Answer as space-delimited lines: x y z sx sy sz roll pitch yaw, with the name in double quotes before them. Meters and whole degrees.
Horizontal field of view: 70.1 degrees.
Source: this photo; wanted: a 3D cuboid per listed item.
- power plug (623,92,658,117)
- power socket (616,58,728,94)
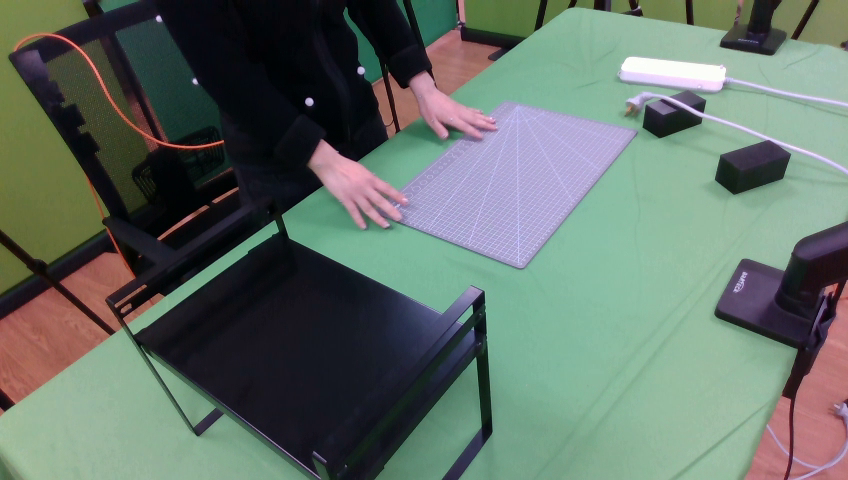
"power plug" 0.422 -0.270 1.198 0.035 0.072 0.052 36 90 -4
"power socket" 0.531 -0.355 1.302 0.225 0.033 0.072 15 46 23
